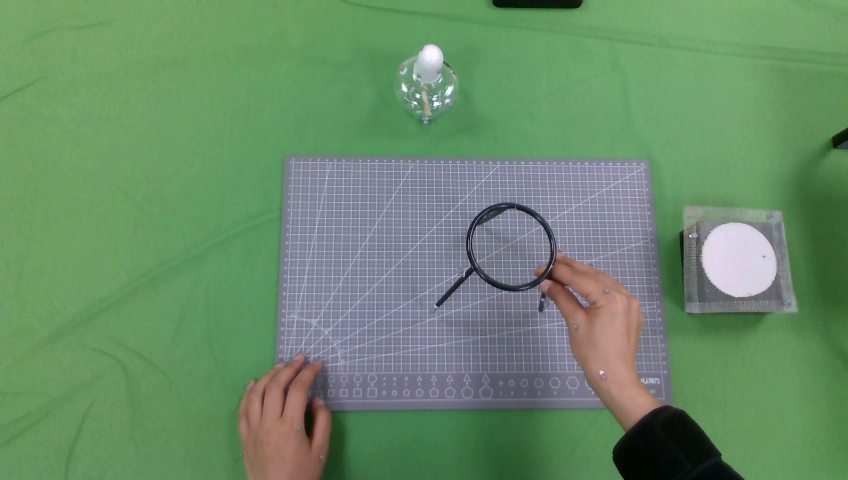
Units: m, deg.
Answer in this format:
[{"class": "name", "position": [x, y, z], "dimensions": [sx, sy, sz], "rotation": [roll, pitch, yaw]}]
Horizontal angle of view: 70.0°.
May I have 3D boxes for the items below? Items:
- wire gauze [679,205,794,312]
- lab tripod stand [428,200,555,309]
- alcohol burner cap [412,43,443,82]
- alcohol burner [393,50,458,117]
[{"class": "wire gauze", "position": [0.349, 0.021, 0.683], "dimensions": [0.121, 0.011, 0.124], "rotation": [3, 76, 0]}, {"class": "lab tripod stand", "position": [0.078, 0.024, 0.639], "dimensions": [0.149, 0.132, 0.147], "rotation": [3, 71, -9]}, {"class": "alcohol burner cap", "position": [0.005, -0.199, 0.673], "dimensions": [0.034, 0.048, 0.033], "rotation": [1, 82, -6]}, {"class": "alcohol burner", "position": [0.004, -0.192, 0.707], "dimensions": [0.078, 0.119, 0.077], "rotation": [1, 77, -5]}]
